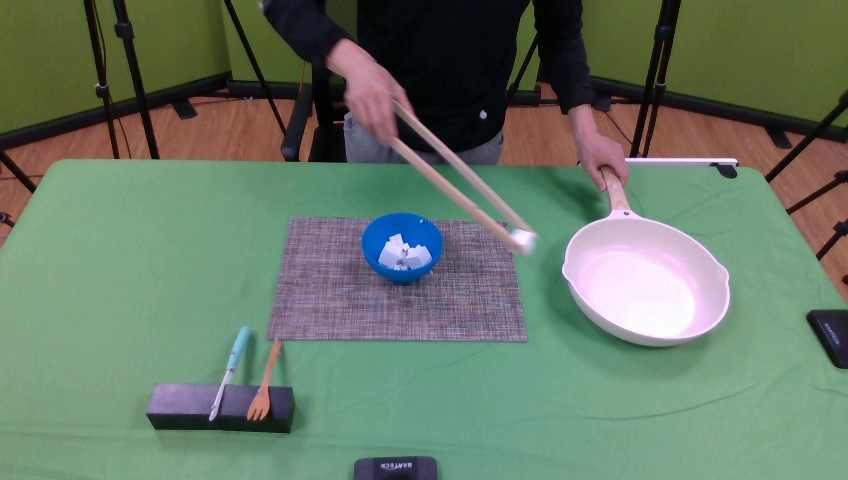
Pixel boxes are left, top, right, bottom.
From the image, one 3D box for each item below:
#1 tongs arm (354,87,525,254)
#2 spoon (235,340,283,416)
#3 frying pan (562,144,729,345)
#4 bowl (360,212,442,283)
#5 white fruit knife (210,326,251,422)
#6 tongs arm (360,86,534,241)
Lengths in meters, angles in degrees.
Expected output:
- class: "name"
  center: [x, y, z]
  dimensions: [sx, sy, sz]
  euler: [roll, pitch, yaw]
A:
- class: "tongs arm"
  center: [0.029, -0.116, 1.029]
  dimensions: [0.385, 0.026, 0.050]
  euler: [39, 64, -5]
- class: "spoon"
  center: [-0.245, 0.207, 0.932]
  dimensions: [0.042, 0.022, 0.193]
  euler: [28, 25, -8]
- class: "frying pan"
  center: [0.397, -0.008, 1.179]
  dimensions: [0.307, 0.103, 0.485]
  euler: [1, 55, -4]
- class: "bowl"
  center: [-0.044, 0.026, 1.125]
  dimensions: [0.151, 0.077, 0.150]
  euler: [2, 46, -2]
- class: "white fruit knife"
  center: [-0.300, 0.201, 0.942]
  dimensions: [0.016, 0.027, 0.206]
  euler: [-3, 32, 1]
- class: "tongs arm"
  center: [0.043, -0.131, 1.040]
  dimensions: [0.388, 0.028, 0.028]
  euler: [42, 67, -3]
